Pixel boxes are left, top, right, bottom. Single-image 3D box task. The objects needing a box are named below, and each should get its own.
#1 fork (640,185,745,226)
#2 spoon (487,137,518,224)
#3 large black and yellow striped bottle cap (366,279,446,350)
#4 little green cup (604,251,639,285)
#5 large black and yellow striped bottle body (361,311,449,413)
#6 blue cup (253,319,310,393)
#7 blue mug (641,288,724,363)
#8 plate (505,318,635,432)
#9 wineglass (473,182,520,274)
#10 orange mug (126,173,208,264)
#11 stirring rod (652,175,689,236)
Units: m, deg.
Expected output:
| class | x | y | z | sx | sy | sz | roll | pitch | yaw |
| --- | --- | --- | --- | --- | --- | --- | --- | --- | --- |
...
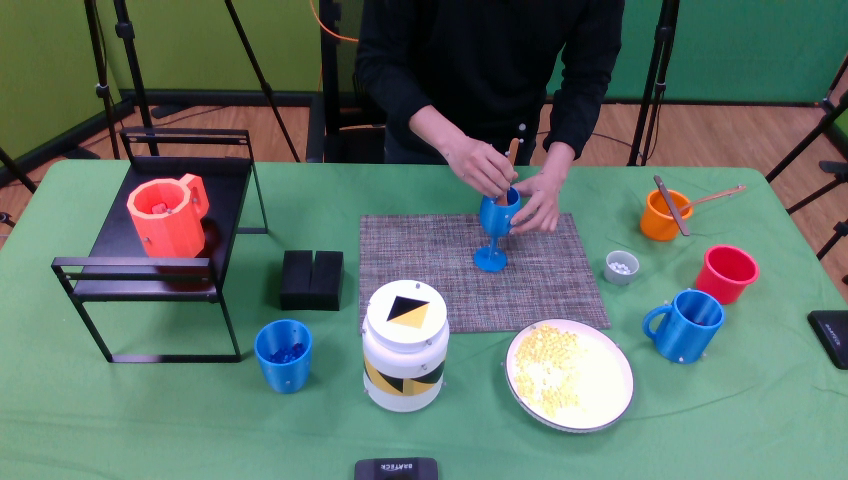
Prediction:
| class | x | y | z | sx | sy | sz | roll | pitch | yaw |
| --- | --- | --- | --- | --- | --- | --- | --- | --- | --- |
| fork | 0.534 | -0.069 | 1.215 | 0.207 | 0.019 | 0.028 | -26 | 27 | 33 |
| spoon | 0.137 | -0.097 | 1.029 | 0.041 | 0.194 | 0.021 | 17 | 44 | 12 |
| large black and yellow striped bottle cap | -0.025 | 0.104 | 0.864 | 0.115 | 0.019 | 0.114 | 3 | 48 | -3 |
| little green cup | 0.375 | 0.055 | 1.161 | 0.061 | 0.039 | 0.061 | 3 | 46 | -2 |
| large black and yellow striped bottle body | -0.031 | 0.163 | 0.924 | 0.131 | 0.185 | 0.130 | 2 | 46 | -2 |
| blue cup | -0.217 | 0.187 | 0.943 | 0.093 | 0.101 | 0.092 | 4 | 45 | -3 |
| blue mug | 0.432 | 0.144 | 1.033 | 0.116 | 0.106 | 0.082 | 8 | 46 | 5 |
| plate | 0.235 | 0.221 | 0.991 | 0.209 | 0.038 | 0.208 | 2 | 45 | -2 |
| wineglass | 0.132 | -0.021 | 1.116 | 0.074 | 0.173 | 0.073 | 2 | 47 | -2 |
| orange mug | -0.371 | -0.040 | 0.902 | 0.083 | 0.101 | 0.126 | 18 | 52 | 14 |
| stirring rod | 0.491 | -0.072 | 1.212 | 0.014 | 0.006 | 0.175 | -1 | 47 | -5 |
